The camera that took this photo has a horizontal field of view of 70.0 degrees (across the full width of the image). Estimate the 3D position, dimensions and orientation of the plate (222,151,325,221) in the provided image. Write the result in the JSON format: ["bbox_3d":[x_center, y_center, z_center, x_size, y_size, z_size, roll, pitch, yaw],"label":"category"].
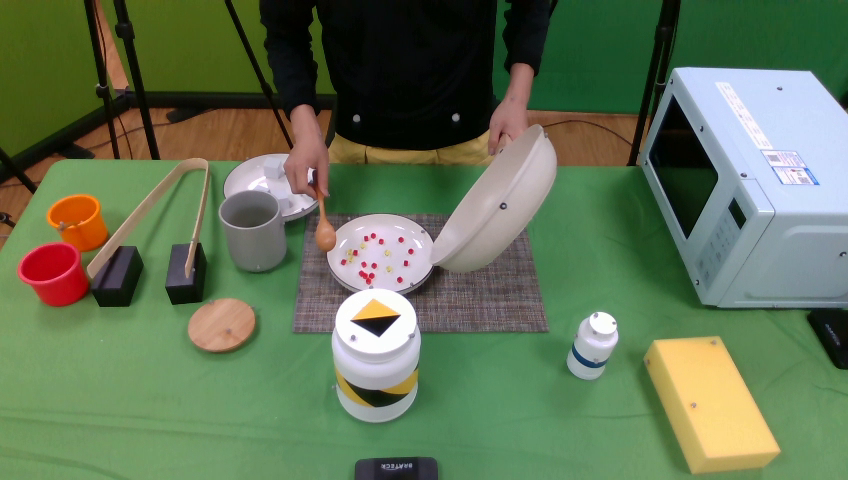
[{"bbox_3d":[-0.310,-0.106,1.263,0.208,0.039,0.206,3,46,-2],"label":"plate"}]

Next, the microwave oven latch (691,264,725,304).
[{"bbox_3d":[0.521,0.081,1.116,0.030,0.029,0.078,0,46,-3],"label":"microwave oven latch"}]

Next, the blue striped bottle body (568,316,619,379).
[{"bbox_3d":[0.276,0.168,0.984,0.063,0.121,0.062,2,46,-2],"label":"blue striped bottle body"}]

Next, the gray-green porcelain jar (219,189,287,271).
[{"bbox_3d":[-0.310,-0.014,1.113,0.106,0.127,0.105,2,46,-2],"label":"gray-green porcelain jar"}]

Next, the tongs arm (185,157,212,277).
[{"bbox_3d":[-0.445,-0.058,1.168,0.051,0.026,0.382,-5,37,-6],"label":"tongs arm"}]

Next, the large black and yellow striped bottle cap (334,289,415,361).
[{"bbox_3d":[-0.069,0.117,0.850,0.115,0.019,0.114,2,45,-2],"label":"large black and yellow striped bottle cap"}]

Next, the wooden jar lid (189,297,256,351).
[{"bbox_3d":[-0.342,0.145,1.033,0.108,0.021,0.107,2,45,-2],"label":"wooden jar lid"}]

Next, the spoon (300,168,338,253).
[{"bbox_3d":[-0.200,-0.058,1.116,0.041,0.022,0.192,-16,68,-10],"label":"spoon"}]

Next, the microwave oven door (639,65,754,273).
[{"bbox_3d":[0.522,-0.147,1.193,0.039,0.245,0.353,1,47,-4],"label":"microwave oven door"}]

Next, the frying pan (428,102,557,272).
[{"bbox_3d":[0.138,-0.128,1.087,0.103,0.307,0.485,32,40,-14],"label":"frying pan"}]

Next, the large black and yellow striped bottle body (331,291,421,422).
[{"bbox_3d":[-0.071,0.175,0.911,0.131,0.185,0.130,2,47,-2],"label":"large black and yellow striped bottle body"}]

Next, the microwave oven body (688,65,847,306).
[{"bbox_3d":[0.669,-0.111,1.176,0.326,0.261,0.439,0,46,-3],"label":"microwave oven body"}]

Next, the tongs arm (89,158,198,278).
[{"bbox_3d":[-0.529,-0.057,1.164,0.028,0.028,0.385,1,36,8],"label":"tongs arm"}]

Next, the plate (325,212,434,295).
[{"bbox_3d":[-0.081,0.030,1.144,0.209,0.038,0.208,3,46,-2],"label":"plate"}]

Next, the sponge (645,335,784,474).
[{"bbox_3d":[0.449,0.253,0.956,0.118,0.061,0.205,-4,46,-7],"label":"sponge"}]

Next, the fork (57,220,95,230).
[{"bbox_3d":[-0.624,-0.027,1.086,0.028,0.207,0.018,-2,91,-17],"label":"fork"}]

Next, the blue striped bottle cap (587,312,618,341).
[{"bbox_3d":[0.279,0.134,0.946,0.044,0.021,0.044,2,45,-2],"label":"blue striped bottle cap"}]
